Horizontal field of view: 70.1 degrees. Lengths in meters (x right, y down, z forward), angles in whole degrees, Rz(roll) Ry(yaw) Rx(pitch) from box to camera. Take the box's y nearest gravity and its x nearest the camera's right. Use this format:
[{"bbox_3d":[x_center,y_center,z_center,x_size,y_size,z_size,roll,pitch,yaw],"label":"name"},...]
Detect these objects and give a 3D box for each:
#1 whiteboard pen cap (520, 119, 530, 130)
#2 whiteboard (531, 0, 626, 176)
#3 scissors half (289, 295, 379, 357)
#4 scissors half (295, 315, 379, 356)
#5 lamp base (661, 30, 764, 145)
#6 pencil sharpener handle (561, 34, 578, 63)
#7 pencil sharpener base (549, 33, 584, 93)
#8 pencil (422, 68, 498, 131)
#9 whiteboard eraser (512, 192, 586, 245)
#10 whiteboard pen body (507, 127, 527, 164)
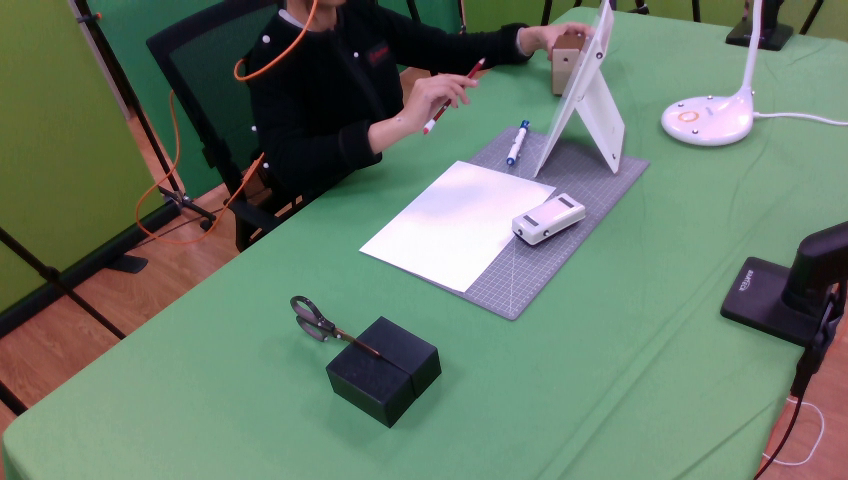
[{"bbox_3d":[0.200,-0.226,1.204,0.018,0.018,0.033,7,42,18],"label":"whiteboard pen cap"},{"bbox_3d":[0.320,-0.258,1.050,0.144,0.306,0.217,22,45,5],"label":"whiteboard"},{"bbox_3d":[-0.122,0.114,0.803,0.174,0.040,0.013,26,50,32],"label":"scissors half"},{"bbox_3d":[-0.119,0.131,0.813,0.173,0.040,0.013,9,34,45],"label":"scissors half"},{"bbox_3d":[0.535,-0.287,1.096,0.179,0.181,0.159,-10,40,-4],"label":"lamp base"},{"bbox_3d":[0.314,-0.419,1.313,0.036,0.068,0.030,20,45,8],"label":"pencil sharpener handle"},{"bbox_3d":[0.303,-0.377,1.284,0.061,0.107,0.076,7,42,20],"label":"pencil sharpener base"},{"bbox_3d":[0.067,-0.250,1.065,0.194,0.012,0.012,-42,50,-21],"label":"pencil"},{"bbox_3d":[0.199,-0.032,0.962,0.113,0.042,0.055,-27,42,-20],"label":"whiteboard eraser"},{"bbox_3d":[0.181,-0.189,1.162,0.017,0.017,0.140,8,42,19],"label":"whiteboard pen body"}]
